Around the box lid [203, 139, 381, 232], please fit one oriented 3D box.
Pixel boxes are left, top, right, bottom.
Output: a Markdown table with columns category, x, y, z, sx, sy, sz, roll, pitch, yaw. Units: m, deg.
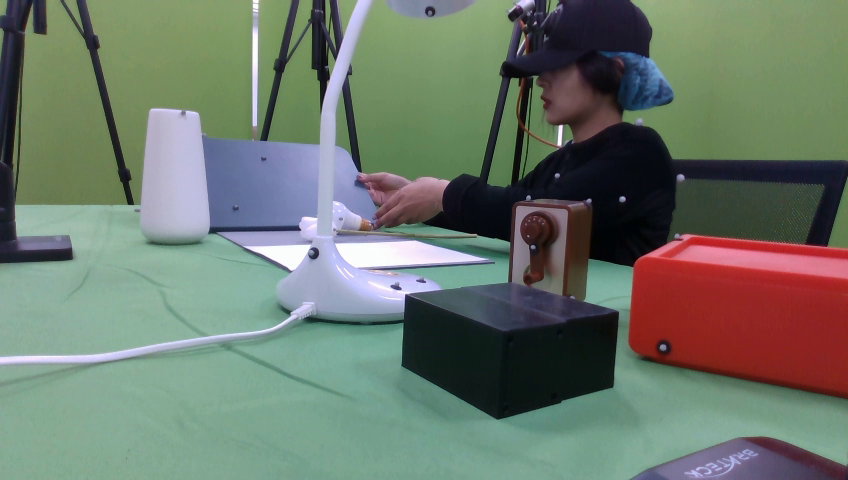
| category | x | y | z | sx | sy | sz | roll | pitch | yaw |
| --- | --- | --- | --- | --- | --- | --- | --- | --- | --- |
| box lid | -0.285 | -0.113 | 1.202 | 0.373 | 0.015 | 0.262 | -3 | 46 | -31 |

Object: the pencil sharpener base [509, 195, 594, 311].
| category | x | y | z | sx | sy | sz | roll | pitch | yaw |
| --- | --- | --- | --- | --- | --- | --- | --- | --- | --- |
| pencil sharpener base | 0.126 | 0.011 | 0.601 | 0.061 | 0.107 | 0.077 | 7 | 9 | 30 |

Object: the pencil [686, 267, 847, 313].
| category | x | y | z | sx | sy | sz | roll | pitch | yaw |
| --- | --- | --- | --- | --- | --- | --- | --- | --- | --- |
| pencil | 0.308 | 0.045 | 0.516 | 0.194 | 0.012 | 0.012 | 13 | 5 | -12 |

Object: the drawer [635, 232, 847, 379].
| category | x | y | z | sx | sy | sz | roll | pitch | yaw |
| --- | --- | --- | --- | --- | --- | --- | --- | --- | --- |
| drawer | 0.292 | 0.044 | 0.488 | 0.193 | 0.073 | 0.213 | 7 | 9 | 30 |

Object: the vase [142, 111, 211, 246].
| category | x | y | z | sx | sy | sz | roll | pitch | yaw |
| --- | --- | --- | --- | --- | --- | --- | --- | --- | --- |
| vase | -0.378 | -0.093 | 0.920 | 0.098 | 0.200 | 0.098 | 2 | 9 | 0 |

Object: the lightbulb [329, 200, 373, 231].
| category | x | y | z | sx | sy | sz | roll | pitch | yaw |
| --- | --- | --- | --- | --- | --- | --- | --- | --- | --- |
| lightbulb | -0.143 | -0.036 | 1.109 | 0.108 | 0.059 | 0.059 | 15 | 0 | -28 |

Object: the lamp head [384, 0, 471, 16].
| category | x | y | z | sx | sy | sz | roll | pitch | yaw |
| --- | --- | --- | --- | --- | --- | --- | --- | --- | --- |
| lamp head | -0.001 | -0.301 | 0.599 | 0.112 | 0.112 | 0.123 | 4 | -30 | 14 |

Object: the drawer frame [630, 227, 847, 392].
| category | x | y | z | sx | sy | sz | roll | pitch | yaw |
| --- | --- | --- | --- | --- | --- | --- | --- | --- | --- |
| drawer frame | 0.292 | 0.043 | 0.484 | 0.201 | 0.082 | 0.214 | 7 | 9 | 29 |

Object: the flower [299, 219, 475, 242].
| category | x | y | z | sx | sy | sz | roll | pitch | yaw |
| --- | --- | --- | --- | --- | --- | --- | --- | --- | --- |
| flower | -0.049 | -0.010 | 1.081 | 0.364 | 0.038 | 0.044 | 2 | 36 | -36 |

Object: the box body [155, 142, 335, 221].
| category | x | y | z | sx | sy | sz | roll | pitch | yaw |
| --- | --- | --- | --- | --- | --- | --- | --- | --- | --- |
| box body | -0.410 | -0.135 | 1.386 | 0.366 | 0.160 | 0.253 | -2 | 9 | -29 |

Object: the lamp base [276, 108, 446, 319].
| category | x | y | z | sx | sy | sz | roll | pitch | yaw |
| --- | --- | --- | --- | --- | --- | --- | --- | --- | --- |
| lamp base | -0.061 | -0.027 | 0.556 | 0.160 | 0.180 | 0.180 | 4 | 10 | 20 |

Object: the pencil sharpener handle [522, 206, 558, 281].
| category | x | y | z | sx | sy | sz | roll | pitch | yaw |
| --- | --- | --- | --- | --- | --- | --- | --- | --- | --- |
| pencil sharpener handle | 0.101 | 0.003 | 0.555 | 0.036 | 0.067 | 0.031 | 0 | 5 | 31 |
